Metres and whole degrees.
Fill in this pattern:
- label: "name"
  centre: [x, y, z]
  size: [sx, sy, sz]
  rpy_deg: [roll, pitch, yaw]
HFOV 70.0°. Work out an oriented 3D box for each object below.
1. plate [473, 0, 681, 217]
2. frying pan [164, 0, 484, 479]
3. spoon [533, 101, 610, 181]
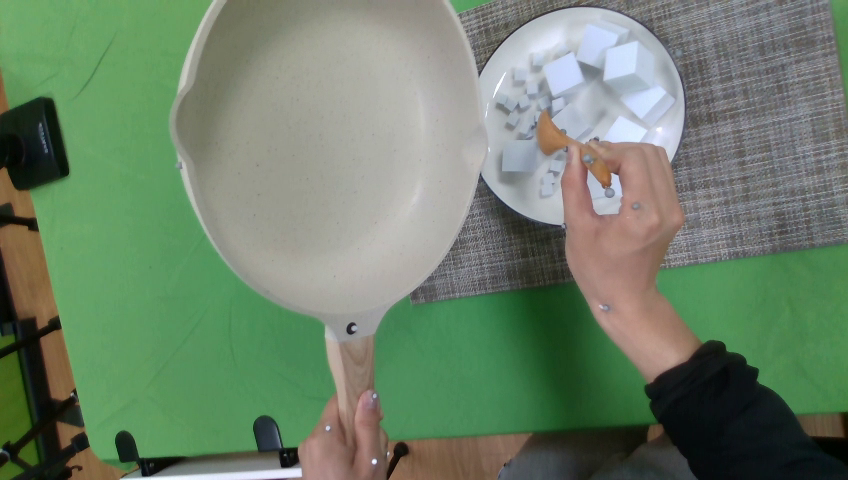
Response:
- label: "plate"
  centre: [0.141, -0.127, 0.596]
  size: [0.206, 0.039, 0.208]
  rpy_deg: [3, 99, 22]
- label: "frying pan"
  centre: [-0.066, 0.015, 0.503]
  size: [0.102, 0.308, 0.488]
  rpy_deg: [1, 95, 45]
- label: "spoon"
  centre: [0.110, -0.077, 0.466]
  size: [0.021, 0.192, 0.042]
  rpy_deg: [-10, 110, -2]
